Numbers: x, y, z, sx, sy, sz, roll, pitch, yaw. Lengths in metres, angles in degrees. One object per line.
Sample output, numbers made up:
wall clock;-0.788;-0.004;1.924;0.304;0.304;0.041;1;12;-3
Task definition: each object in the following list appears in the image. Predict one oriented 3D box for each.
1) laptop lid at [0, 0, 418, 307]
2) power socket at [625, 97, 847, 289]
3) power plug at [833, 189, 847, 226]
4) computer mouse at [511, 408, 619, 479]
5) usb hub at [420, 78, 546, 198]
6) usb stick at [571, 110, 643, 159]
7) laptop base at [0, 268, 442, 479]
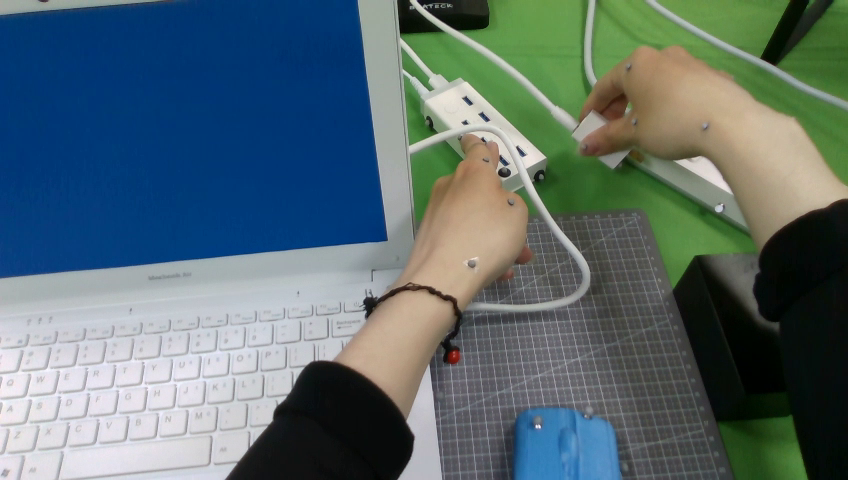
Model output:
laptop lid;-0.185;-0.049;0.369;0.357;0.244;0.013;-7;42;-2
power socket;0.267;-0.044;0.492;0.225;0.033;0.072;38;63;24
power plug;0.341;-0.033;0.456;0.072;0.053;0.035;-32;60;-17
computer mouse;0.081;0.153;0.352;0.062;0.041;0.116;6;51;8
usb hub;0.049;-0.093;0.533;0.049;0.025;0.124;-29;59;-18
usb stick;0.152;-0.084;0.492;0.059;0.027;0.021;19;30;1
laptop base;-0.167;0.136;0.383;0.354;0.023;0.233;-6;59;-3
